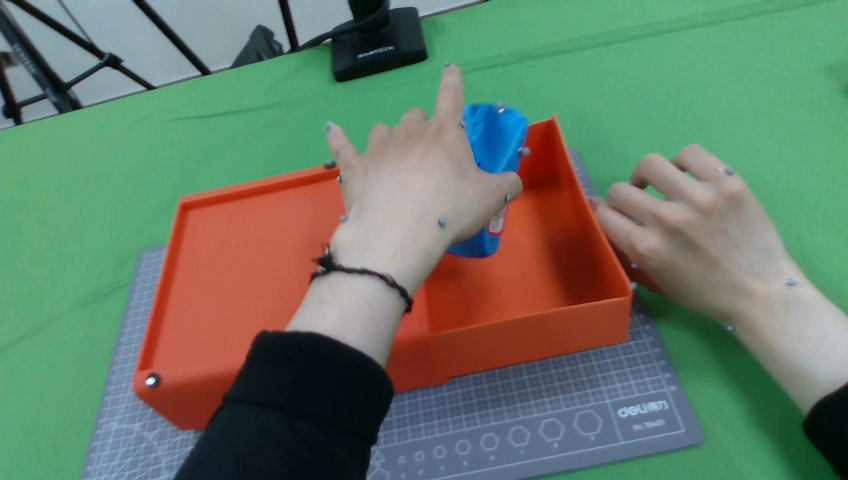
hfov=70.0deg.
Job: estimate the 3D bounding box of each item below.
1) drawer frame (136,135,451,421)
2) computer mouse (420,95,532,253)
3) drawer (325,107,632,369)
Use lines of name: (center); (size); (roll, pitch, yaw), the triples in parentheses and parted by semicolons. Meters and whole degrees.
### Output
drawer frame: (-0.094, 0.026, 0.491); (0.213, 0.083, 0.199); (-12, 49, 6)
computer mouse: (0.036, -0.050, 0.446); (0.062, 0.041, 0.117); (17, 92, 35)
drawer: (0.032, 0.000, 0.480); (0.212, 0.074, 0.192); (-12, 49, 5)
